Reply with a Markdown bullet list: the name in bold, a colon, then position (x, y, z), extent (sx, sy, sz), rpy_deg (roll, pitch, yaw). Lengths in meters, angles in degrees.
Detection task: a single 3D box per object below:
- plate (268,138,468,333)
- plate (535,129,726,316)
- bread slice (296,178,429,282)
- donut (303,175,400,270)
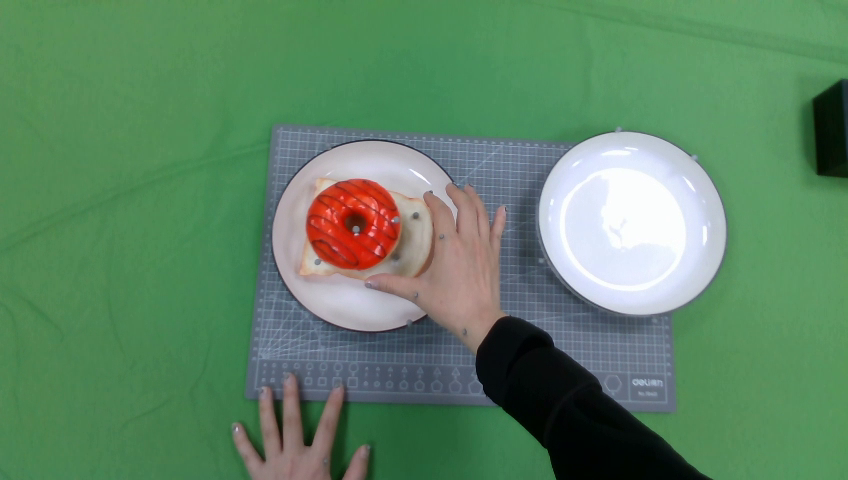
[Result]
- **plate**: position (-0.058, -0.004, 0.643), extent (0.209, 0.038, 0.208), rpy_deg (1, 78, -5)
- **plate**: position (0.222, -0.018, 0.667), extent (0.208, 0.039, 0.206), rpy_deg (1, 77, -4)
- **bread slice**: position (-0.062, -0.008, 0.645), extent (0.134, 0.018, 0.106), rpy_deg (5, 77, -4)
- **donut**: position (-0.073, -0.018, 0.617), extent (0.099, 0.048, 0.098), rpy_deg (1, 78, -3)
